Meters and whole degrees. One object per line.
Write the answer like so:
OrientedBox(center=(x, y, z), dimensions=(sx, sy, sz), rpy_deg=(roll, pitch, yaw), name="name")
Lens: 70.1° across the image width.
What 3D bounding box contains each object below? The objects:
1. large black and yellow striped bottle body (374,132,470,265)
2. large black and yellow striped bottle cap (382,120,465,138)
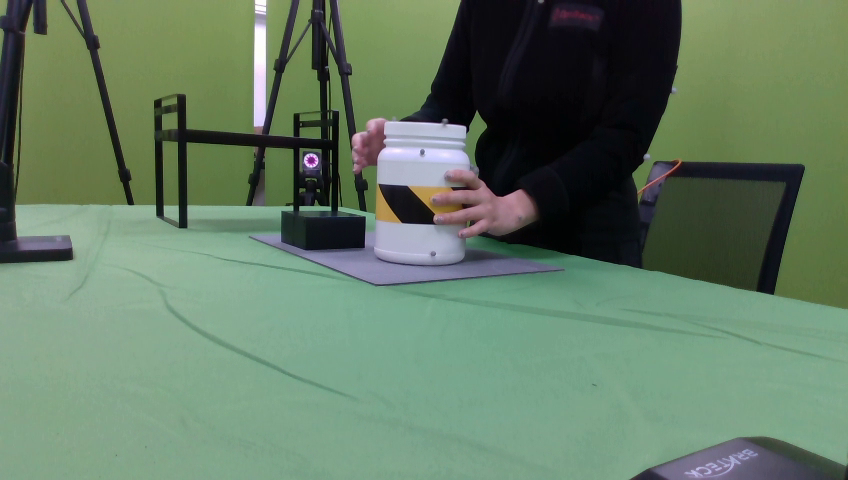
OrientedBox(center=(-0.003, -0.065, 0.846), dimensions=(0.131, 0.184, 0.130), rpy_deg=(2, 7, 0), name="large black and yellow striped bottle body")
OrientedBox(center=(0.000, -0.153, 0.834), dimensions=(0.115, 0.019, 0.115), rpy_deg=(4, 8, 0), name="large black and yellow striped bottle cap")
